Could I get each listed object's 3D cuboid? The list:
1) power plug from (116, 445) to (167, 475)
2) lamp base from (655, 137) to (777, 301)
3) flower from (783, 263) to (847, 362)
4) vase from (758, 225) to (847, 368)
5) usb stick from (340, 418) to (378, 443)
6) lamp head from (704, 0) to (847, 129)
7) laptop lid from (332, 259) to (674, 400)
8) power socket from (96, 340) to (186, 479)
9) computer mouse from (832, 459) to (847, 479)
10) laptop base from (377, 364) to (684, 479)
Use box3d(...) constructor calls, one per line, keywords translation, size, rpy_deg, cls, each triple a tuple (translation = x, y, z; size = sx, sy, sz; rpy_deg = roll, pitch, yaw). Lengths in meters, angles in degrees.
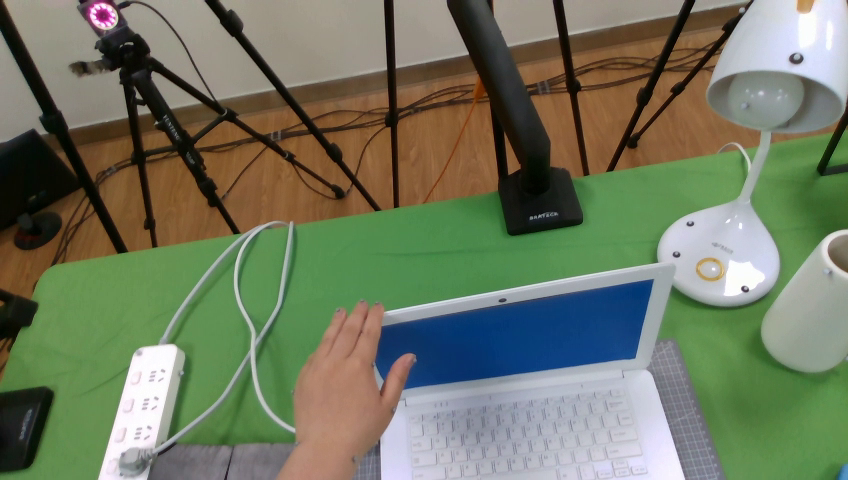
box3d(translation=(-0.359, 0.285, 0.776), size=(0.072, 0.053, 0.035), rpy_deg=(5, 53, 12), cls="power plug")
box3d(translation=(0.406, -0.038, 0.804), size=(0.159, 0.182, 0.178), rpy_deg=(20, 57, 24), cls="lamp base")
box3d(translation=(0.462, 0.010, 0.641), size=(0.038, 0.364, 0.043), rpy_deg=(-10, 41, -18), cls="flower")
box3d(translation=(0.459, 0.068, 0.702), size=(0.098, 0.202, 0.097), rpy_deg=(-6, 52, 8), cls="vase")
box3d(translation=(-0.076, 0.242, 0.772), size=(0.059, 0.027, 0.021), rpy_deg=(-4, 51, 2), cls="usb stick")
box3d(translation=(0.324, -0.174, 0.542), size=(0.112, 0.113, 0.122), rpy_deg=(17, 76, 22), cls="lamp head")
box3d(translation=(0.093, 0.114, 0.699), size=(0.356, 0.244, 0.013), rpy_deg=(-10, 52, 5), cls="laptop lid")
box3d(translation=(-0.388, 0.240, 0.840), size=(0.072, 0.033, 0.224), rpy_deg=(-6, 52, 6), cls="power socket")
box3d(translation=(0.460, 0.288, 0.639), size=(0.062, 0.041, 0.117), rpy_deg=(27, 58, 31), cls="computer mouse")
box3d(translation=(0.122, 0.279, 0.723), size=(0.354, 0.023, 0.233), rpy_deg=(-9, 56, 4), cls="laptop base")
